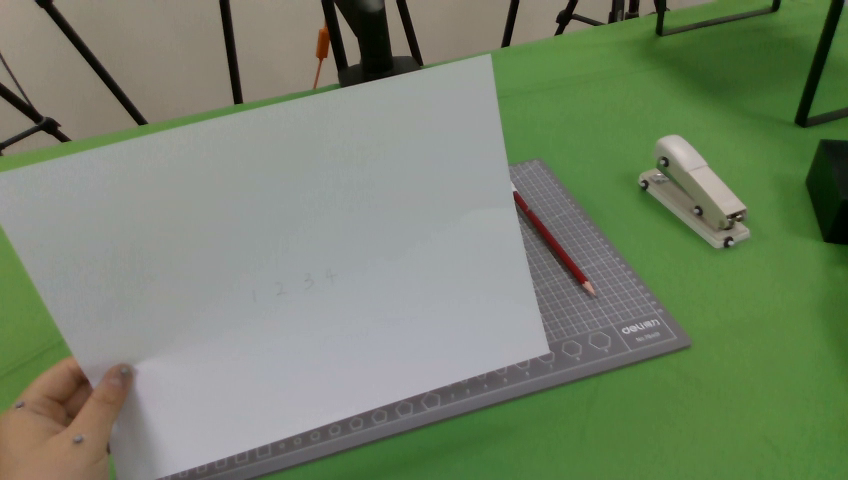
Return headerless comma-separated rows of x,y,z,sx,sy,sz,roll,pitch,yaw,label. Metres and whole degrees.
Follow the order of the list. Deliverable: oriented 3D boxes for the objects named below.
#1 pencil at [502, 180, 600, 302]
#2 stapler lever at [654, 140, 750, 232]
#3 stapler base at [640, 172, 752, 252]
0.121,-0.005,0.596,0.012,0.012,0.191,-17,43,-11,pencil
0.268,-0.056,0.590,0.027,0.040,0.116,-20,43,-10,stapler lever
0.270,-0.038,0.608,0.041,0.025,0.129,-19,43,-10,stapler base
